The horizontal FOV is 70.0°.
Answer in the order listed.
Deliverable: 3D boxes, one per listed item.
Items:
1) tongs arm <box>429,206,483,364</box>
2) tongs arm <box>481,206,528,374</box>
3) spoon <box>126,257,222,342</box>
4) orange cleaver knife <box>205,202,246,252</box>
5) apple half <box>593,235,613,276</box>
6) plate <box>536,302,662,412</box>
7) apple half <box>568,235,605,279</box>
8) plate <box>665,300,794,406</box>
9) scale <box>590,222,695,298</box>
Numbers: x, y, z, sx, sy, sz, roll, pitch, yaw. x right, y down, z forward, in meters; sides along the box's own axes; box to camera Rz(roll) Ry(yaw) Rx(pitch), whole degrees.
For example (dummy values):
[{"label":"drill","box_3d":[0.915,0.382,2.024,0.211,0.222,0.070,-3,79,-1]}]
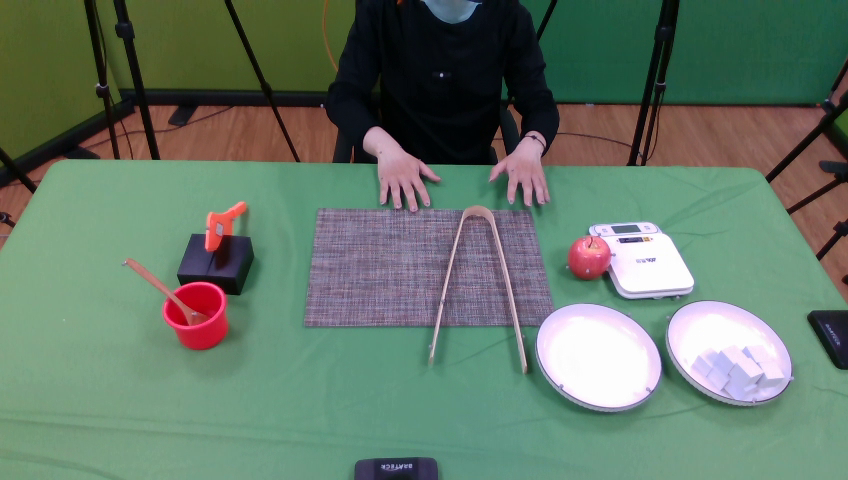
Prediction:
[{"label":"tongs arm","box_3d":[0.064,0.068,1.124,0.051,0.026,0.382,8,46,5]},{"label":"tongs arm","box_3d":[0.149,0.077,1.123,0.028,0.028,0.385,-5,46,-2]},{"label":"spoon","box_3d":[-0.407,0.096,0.990,0.194,0.021,0.041,50,53,-18]},{"label":"orange cleaver knife","box_3d":[-0.374,-0.029,1.150,0.012,0.077,0.211,4,13,0]},{"label":"apple half","box_3d":[0.340,0.029,1.155,0.033,0.082,0.080,-10,47,-8]},{"label":"plate","box_3d":[0.288,0.197,1.016,0.209,0.038,0.208,2,46,-2]},{"label":"apple half","box_3d":[0.302,0.035,1.148,0.053,0.075,0.080,-9,51,-8]},{"label":"plate","box_3d":[0.513,0.194,1.034,0.208,0.039,0.206,2,46,-2]},{"label":"scale","box_3d":[0.424,0.031,1.189,0.149,0.032,0.199,-3,46,-7]}]
